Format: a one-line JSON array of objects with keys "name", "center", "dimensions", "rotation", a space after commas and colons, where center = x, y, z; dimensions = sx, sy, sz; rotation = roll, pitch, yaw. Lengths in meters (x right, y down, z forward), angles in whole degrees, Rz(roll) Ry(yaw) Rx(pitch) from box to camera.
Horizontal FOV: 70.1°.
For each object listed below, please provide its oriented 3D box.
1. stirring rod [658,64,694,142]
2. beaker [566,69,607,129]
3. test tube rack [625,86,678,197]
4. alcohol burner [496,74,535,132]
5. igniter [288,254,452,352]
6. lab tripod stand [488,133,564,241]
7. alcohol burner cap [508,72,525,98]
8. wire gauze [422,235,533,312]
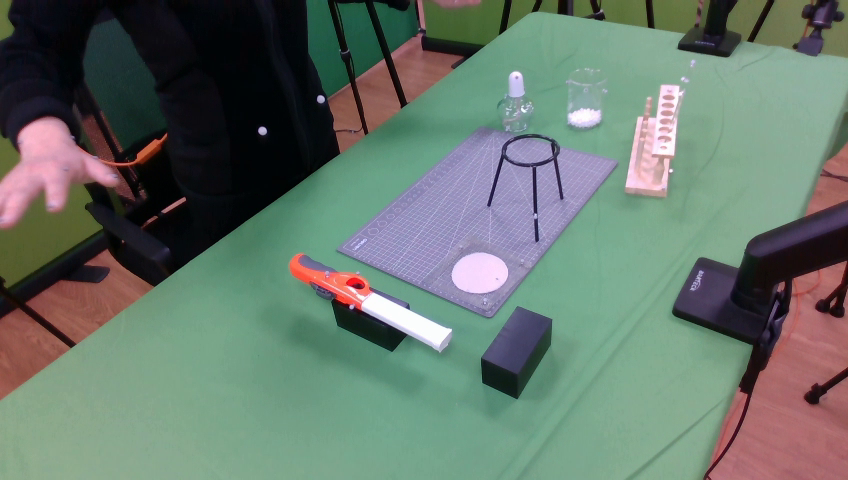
[{"name": "stirring rod", "center": [0.409, -0.213, 1.000], "dimensions": [0.006, 0.176, 0.014], "rotation": [36, 57, 25]}, {"name": "beaker", "center": [0.322, -0.279, 1.202], "dimensions": [0.073, 0.101, 0.084], "rotation": [11, 43, 20]}, {"name": "test tube rack", "center": [0.412, -0.184, 1.088], "dimensions": [0.066, 0.085, 0.242], "rotation": [9, 43, 18]}, {"name": "alcohol burner", "center": [0.183, -0.278, 1.209], "dimensions": [0.078, 0.119, 0.077], "rotation": [-3, 43, 4]}, {"name": "igniter", "center": [-0.083, 0.079, 0.818], "dimensions": [0.274, 0.025, 0.057], "rotation": [23, 46, 27]}, {"name": "lab tripod stand", "center": [0.168, -0.093, 0.972], "dimensions": [0.148, 0.132, 0.147], "rotation": [-5, 41, 5]}, {"name": "alcohol burner cap", "center": [0.181, -0.307, 1.186], "dimensions": [0.034, 0.048, 0.033], "rotation": [-6, 40, 6]}, {"name": "wire gauze", "center": [0.081, 0.049, 0.914], "dimensions": [0.120, 0.011, 0.125], "rotation": [26, 52, 32]}]
